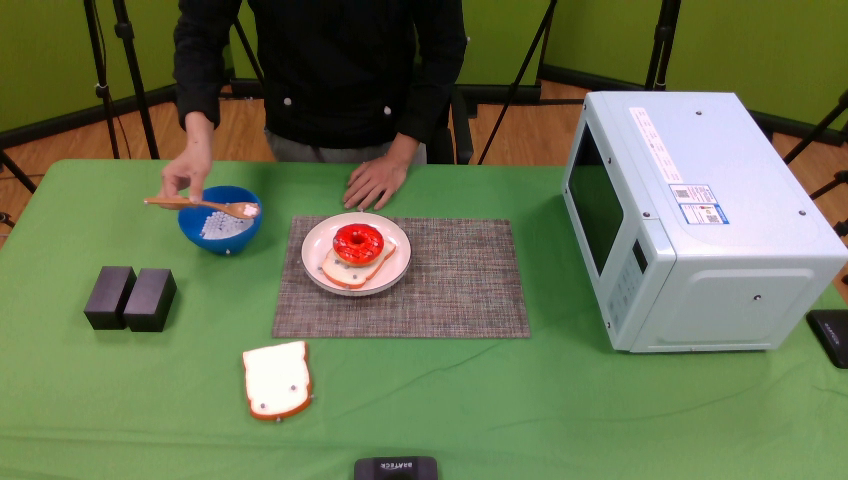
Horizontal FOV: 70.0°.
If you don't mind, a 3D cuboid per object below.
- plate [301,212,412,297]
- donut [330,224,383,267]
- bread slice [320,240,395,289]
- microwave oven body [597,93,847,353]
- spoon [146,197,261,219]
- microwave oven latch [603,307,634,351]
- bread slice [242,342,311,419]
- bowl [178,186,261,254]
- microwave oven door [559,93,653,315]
[{"bbox_3d":[-0.126,0.031,1.145,0.208,0.039,0.206,2,46,-2],"label":"plate"},{"bbox_3d":[-0.125,0.010,1.127,0.099,0.048,0.098,3,45,-3],"label":"donut"},{"bbox_3d":[-0.129,0.037,1.141,0.107,0.018,0.134,19,47,14],"label":"bread slice"},{"bbox_3d":[0.475,-0.041,1.109,0.326,0.261,0.438,-1,45,-4],"label":"microwave oven body"},{"bbox_3d":[-0.376,-0.060,1.046,0.194,0.022,0.041,8,43,-40],"label":"spoon"},{"bbox_3d":[0.332,0.153,1.044,0.030,0.029,0.078,0,45,-3],"label":"microwave oven latch"},{"bbox_3d":[-0.233,0.223,0.970,0.105,0.019,0.130,-10,46,-12],"label":"bread slice"},{"bbox_3d":[-0.383,-0.026,1.158,0.151,0.077,0.150,2,46,-2],"label":"bowl"},{"bbox_3d":[0.327,-0.074,1.123,0.039,0.245,0.353,-1,46,-5],"label":"microwave oven door"}]
